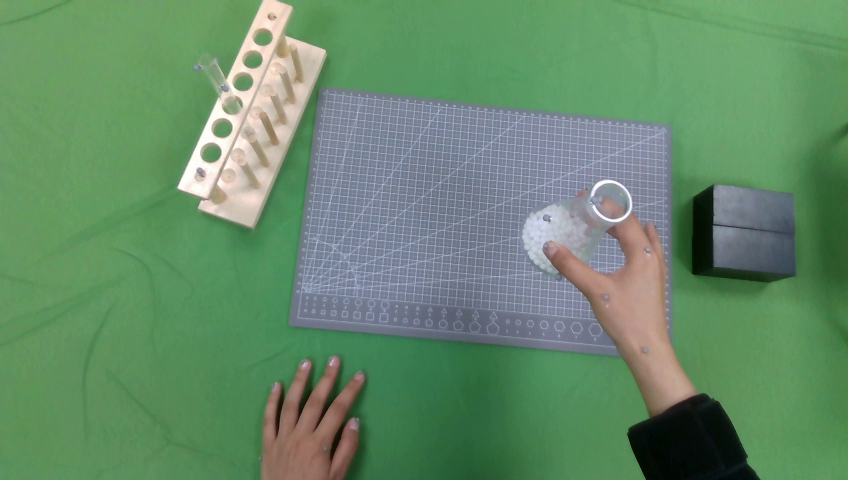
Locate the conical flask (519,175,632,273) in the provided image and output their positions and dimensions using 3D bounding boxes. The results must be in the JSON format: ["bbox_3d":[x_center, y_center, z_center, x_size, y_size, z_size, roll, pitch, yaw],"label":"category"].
[{"bbox_3d":[0.136,-0.019,0.532,0.075,0.122,0.075,3,75,-10],"label":"conical flask"}]

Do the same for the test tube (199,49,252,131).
[{"bbox_3d":[-0.209,-0.156,0.650,0.017,0.151,0.017,0,74,-1],"label":"test tube"}]

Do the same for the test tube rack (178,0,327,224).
[{"bbox_3d":[-0.190,-0.149,0.700,0.067,0.085,0.241,20,77,0],"label":"test tube rack"}]
